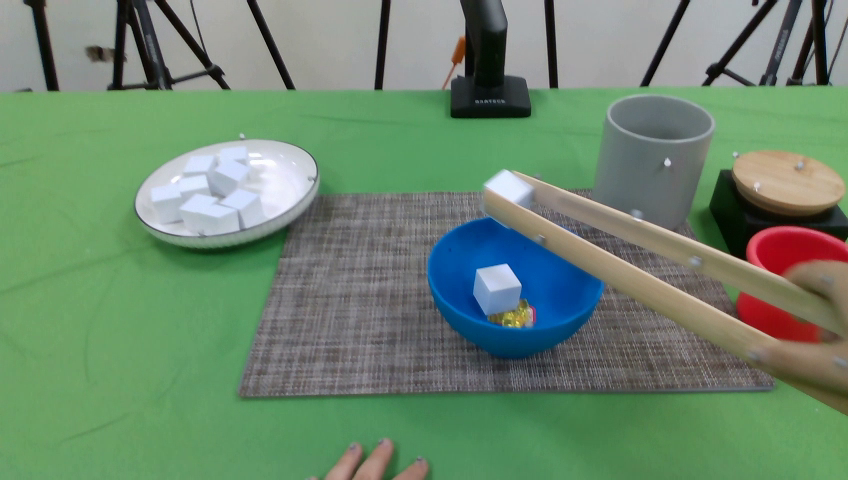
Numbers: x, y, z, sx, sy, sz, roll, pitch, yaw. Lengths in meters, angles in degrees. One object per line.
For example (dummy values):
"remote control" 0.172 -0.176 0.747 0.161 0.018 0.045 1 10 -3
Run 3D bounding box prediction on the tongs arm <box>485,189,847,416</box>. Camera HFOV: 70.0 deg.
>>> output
"tongs arm" 0.182 0.045 0.392 0.028 0.028 0.383 -28 43 -33

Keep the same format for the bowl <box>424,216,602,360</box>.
"bowl" 0.075 0.052 0.536 0.151 0.077 0.150 -1 39 1

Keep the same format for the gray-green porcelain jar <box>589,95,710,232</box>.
"gray-green porcelain jar" 0.235 -0.075 0.651 0.106 0.127 0.105 -1 39 1

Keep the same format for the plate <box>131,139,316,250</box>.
"plate" -0.230 -0.053 0.713 0.209 0.038 0.207 -2 39 2

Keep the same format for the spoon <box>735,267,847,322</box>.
"spoon" 0.362 0.028 0.510 0.022 0.193 0.041 44 40 -17

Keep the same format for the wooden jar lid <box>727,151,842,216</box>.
"wooden jar lid" 0.376 -0.059 0.638 0.108 0.021 0.107 -2 39 2

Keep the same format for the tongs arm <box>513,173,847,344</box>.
"tongs arm" 0.200 0.034 0.404 0.381 0.027 0.051 28 48 35
